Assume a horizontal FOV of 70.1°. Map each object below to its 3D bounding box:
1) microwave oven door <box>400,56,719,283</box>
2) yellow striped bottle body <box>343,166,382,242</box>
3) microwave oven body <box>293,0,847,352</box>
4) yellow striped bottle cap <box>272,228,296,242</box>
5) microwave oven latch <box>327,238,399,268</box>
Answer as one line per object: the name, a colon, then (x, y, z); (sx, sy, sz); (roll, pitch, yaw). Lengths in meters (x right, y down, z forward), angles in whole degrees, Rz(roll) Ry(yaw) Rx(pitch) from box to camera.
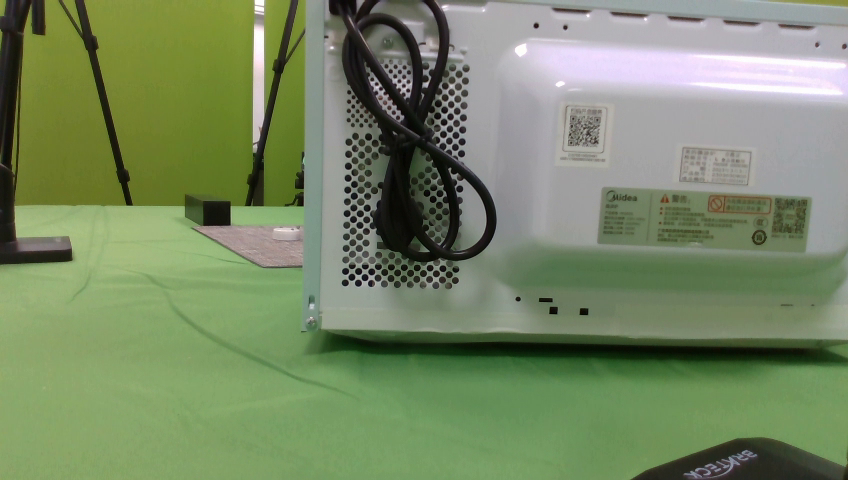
microwave oven door: (0.155, -0.078, 0.698); (0.356, 0.243, 0.039); (2, 8, -5)
yellow striped bottle body: (-0.099, -0.059, 0.975); (0.063, 0.120, 0.063); (1, 6, 0)
microwave oven body: (0.122, -0.055, 0.550); (0.442, 0.260, 0.325); (3, 7, -5)
yellow striped bottle cap: (-0.232, -0.008, 1.012); (0.044, 0.018, 0.044); (4, 8, 0)
microwave oven latch: (-0.069, 0.015, 0.694); (0.079, 0.029, 0.030); (3, 7, -3)
